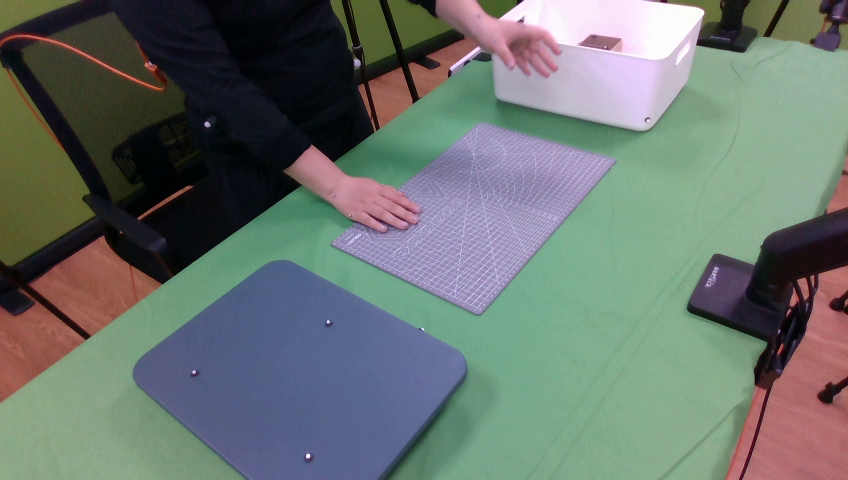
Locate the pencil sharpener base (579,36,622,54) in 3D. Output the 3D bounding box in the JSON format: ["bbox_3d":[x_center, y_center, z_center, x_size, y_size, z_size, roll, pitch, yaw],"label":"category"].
[{"bbox_3d":[0.364,-0.363,1.267,0.076,0.107,0.061,20,48,30],"label":"pencil sharpener base"}]

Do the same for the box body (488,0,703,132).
[{"bbox_3d":[0.346,-0.374,1.251,0.361,0.161,0.255,21,48,29],"label":"box body"}]

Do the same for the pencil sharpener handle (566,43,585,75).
[{"bbox_3d":[0.319,-0.386,1.283,0.030,0.068,0.036,20,40,30],"label":"pencil sharpener handle"}]

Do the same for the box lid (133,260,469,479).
[{"bbox_3d":[-0.156,0.160,0.747,0.368,0.015,0.264,23,49,31],"label":"box lid"}]
